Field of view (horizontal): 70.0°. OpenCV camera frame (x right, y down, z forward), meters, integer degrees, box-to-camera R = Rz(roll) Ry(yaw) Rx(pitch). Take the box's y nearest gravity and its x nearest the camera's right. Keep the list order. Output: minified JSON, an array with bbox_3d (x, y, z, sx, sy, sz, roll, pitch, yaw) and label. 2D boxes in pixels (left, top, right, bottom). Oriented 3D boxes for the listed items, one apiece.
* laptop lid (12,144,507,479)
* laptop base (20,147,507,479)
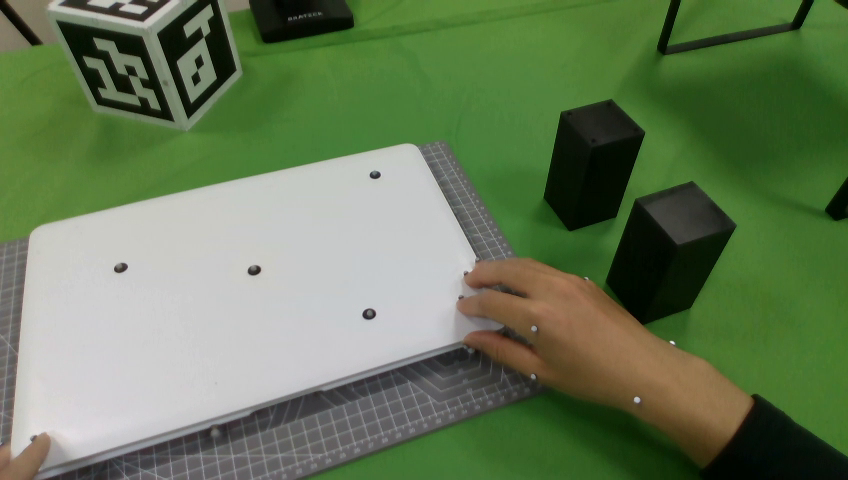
[{"bbox_3d":[-0.136,0.029,0.493,0.357,0.013,0.239,-14,51,-12],"label":"laptop lid"},{"bbox_3d":[-0.136,0.038,0.506,0.355,0.023,0.233,-15,54,-13],"label":"laptop base"}]
